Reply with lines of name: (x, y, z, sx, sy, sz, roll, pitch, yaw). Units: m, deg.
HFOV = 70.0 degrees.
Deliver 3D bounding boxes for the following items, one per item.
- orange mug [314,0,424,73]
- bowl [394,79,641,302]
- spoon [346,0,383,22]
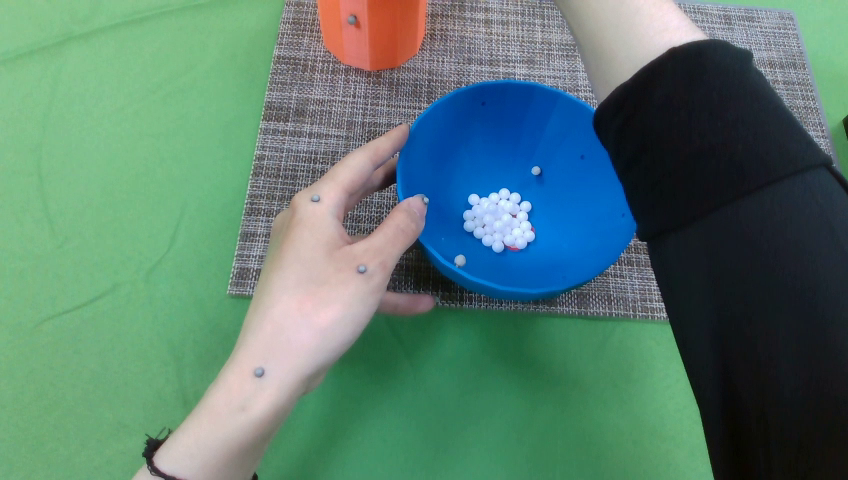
orange mug: (-0.038, -0.210, 0.469, 0.083, 0.101, 0.125, 14, 69, 3)
bowl: (0.055, -0.021, 0.397, 0.151, 0.077, 0.150, 2, 65, -3)
spoon: (-0.022, -0.211, 0.404, 0.021, 0.194, 0.041, 39, 62, 1)
